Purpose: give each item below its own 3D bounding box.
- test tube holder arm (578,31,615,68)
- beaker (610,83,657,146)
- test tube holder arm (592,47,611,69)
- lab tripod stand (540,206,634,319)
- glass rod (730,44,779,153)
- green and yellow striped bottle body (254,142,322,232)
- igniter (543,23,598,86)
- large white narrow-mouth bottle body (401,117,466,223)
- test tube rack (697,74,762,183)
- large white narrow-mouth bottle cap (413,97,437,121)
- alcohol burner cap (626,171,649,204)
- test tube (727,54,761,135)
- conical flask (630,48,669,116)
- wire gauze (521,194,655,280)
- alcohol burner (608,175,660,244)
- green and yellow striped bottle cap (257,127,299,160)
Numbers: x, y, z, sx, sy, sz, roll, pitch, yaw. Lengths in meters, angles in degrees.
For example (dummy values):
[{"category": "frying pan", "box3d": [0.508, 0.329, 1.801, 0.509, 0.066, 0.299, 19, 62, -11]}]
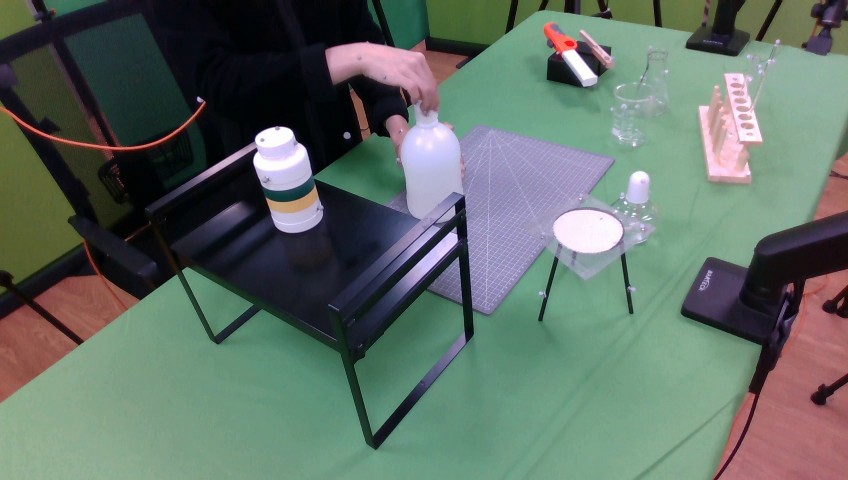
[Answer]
[{"category": "test tube holder arm", "box3d": [0.383, -0.428, 1.351, 0.013, 0.015, 0.177, -12, 41, -3]}, {"category": "beaker", "box3d": [0.388, -0.235, 1.138, 0.074, 0.101, 0.083, -31, 45, -25]}, {"category": "test tube holder arm", "box3d": [0.385, -0.398, 1.317, 0.010, 0.015, 0.087, -11, 41, -2]}, {"category": "lab tripod stand", "box3d": [0.217, 0.034, 0.821, 0.148, 0.132, 0.147, -4, 42, 4]}, {"category": "glass rod", "box3d": [0.555, -0.233, 1.021, 0.008, 0.200, 0.008, 2, 40, -1]}, {"category": "green and yellow striped bottle body", "box3d": [-0.165, -0.073, 0.732, 0.063, 0.120, 0.063, -4, 41, 4]}, {"category": "igniter", "box3d": [0.320, -0.419, 1.345, 0.057, 0.025, 0.274, -12, 44, -3]}, {"category": "large white narrow-mouth bottle body", "box3d": [0.013, -0.129, 0.991, 0.102, 0.195, 0.101, -5, 39, 5]}, {"category": "test tube rack", "box3d": [0.547, -0.208, 1.095, 0.066, 0.085, 0.242, 5, 42, 15]}, {"category": "large white narrow-mouth bottle cap", "box3d": [0.001, -0.202, 0.932, 0.038, 0.024, 0.037, -5, 39, 4]}, {"category": "alcohol burner cap", "box3d": [0.320, -0.081, 0.901, 0.034, 0.048, 0.033, -4, 42, 4]}, {"category": "test tube", "box3d": [0.564, -0.254, 1.069, 0.017, 0.151, 0.017, -1, 40, 1]}, {"category": "conical flask", "box3d": [0.457, -0.317, 1.205, 0.075, 0.122, 0.075, -4, 41, 4]}, {"category": "wire gauze", "box3d": [0.207, -0.012, 0.772, 0.122, 0.011, 0.124, -28, 44, -20]}, {"category": "alcohol burner", "box3d": [0.322, -0.053, 0.924, 0.078, 0.119, 0.077, -4, 43, 4]}, {"category": "green and yellow striped bottle cap", "box3d": [-0.169, -0.112, 0.698, 0.045, 0.020, 0.045, -5, 40, 5]}]
